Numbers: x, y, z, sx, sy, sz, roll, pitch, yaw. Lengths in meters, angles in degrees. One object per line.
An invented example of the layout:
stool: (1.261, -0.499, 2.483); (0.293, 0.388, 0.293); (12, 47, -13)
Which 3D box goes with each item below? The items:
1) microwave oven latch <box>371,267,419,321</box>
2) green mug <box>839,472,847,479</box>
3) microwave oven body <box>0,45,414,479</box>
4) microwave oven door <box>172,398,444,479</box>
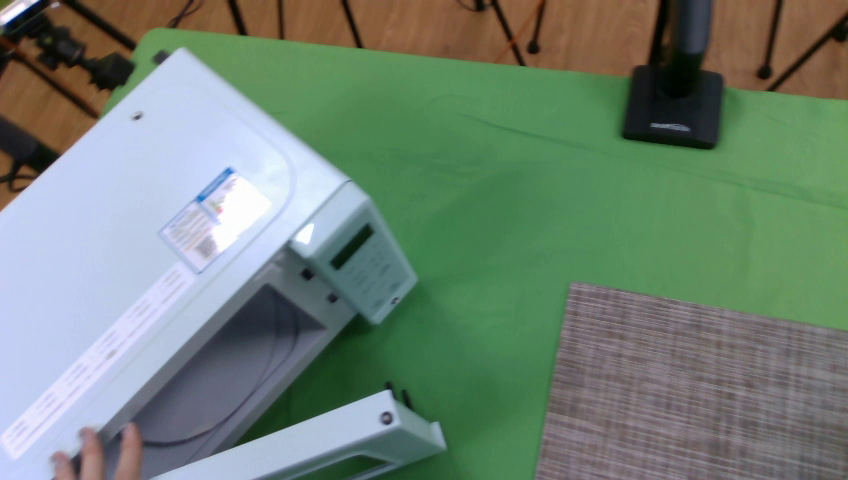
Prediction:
microwave oven latch: (-0.041, 0.061, 0.748); (0.079, 0.030, 0.030); (-45, 67, -8)
green mug: (0.441, 0.268, 0.547); (0.092, 0.106, 0.124); (-7, 67, 8)
microwave oven body: (-0.285, 0.066, 0.687); (0.323, 0.262, 0.441); (39, 80, 22)
microwave oven door: (-0.167, 0.238, 0.587); (0.356, 0.246, 0.039); (-21, 66, 1)
